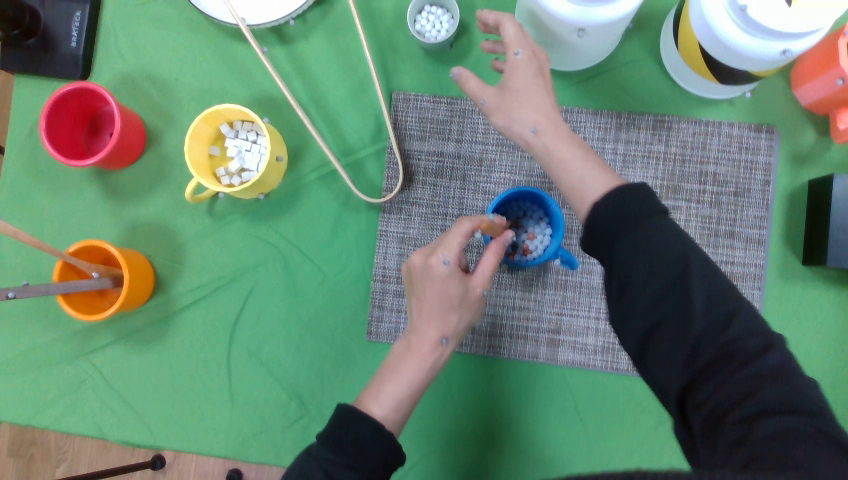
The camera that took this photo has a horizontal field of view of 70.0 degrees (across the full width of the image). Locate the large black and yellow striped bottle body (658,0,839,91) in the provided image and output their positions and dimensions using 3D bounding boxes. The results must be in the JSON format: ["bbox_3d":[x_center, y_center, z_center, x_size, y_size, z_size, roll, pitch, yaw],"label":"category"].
[{"bbox_3d":[0.331,-0.240,0.620,0.131,0.184,0.130,0,88,5],"label":"large black and yellow striped bottle body"}]

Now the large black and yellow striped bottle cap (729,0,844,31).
[{"bbox_3d":[0.324,-0.245,0.536,0.115,0.019,0.115,0,89,3],"label":"large black and yellow striped bottle cap"}]

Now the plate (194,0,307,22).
[{"bbox_3d":[-0.205,-0.363,0.733,0.207,0.039,0.207,0,89,4],"label":"plate"}]

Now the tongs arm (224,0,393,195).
[{"bbox_3d":[-0.160,-0.210,0.706,0.051,0.026,0.385,-32,94,-1],"label":"tongs arm"}]

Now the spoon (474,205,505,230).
[{"bbox_3d":[0.065,-0.020,0.600,0.041,0.193,0.021,-35,90,7],"label":"spoon"}]

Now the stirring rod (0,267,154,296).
[{"bbox_3d":[-0.400,0.047,0.686,0.177,0.006,0.014,-7,82,-38],"label":"stirring rod"}]

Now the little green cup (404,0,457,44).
[{"bbox_3d":[0.009,-0.263,0.715,0.061,0.038,0.061,0,89,4],"label":"little green cup"}]

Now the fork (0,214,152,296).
[{"bbox_3d":[-0.406,0.011,0.680,0.209,0.018,0.028,37,85,-39],"label":"fork"}]

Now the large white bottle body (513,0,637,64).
[{"bbox_3d":[0.162,-0.276,0.632,0.130,0.185,0.130,0,88,4],"label":"large white bottle body"}]

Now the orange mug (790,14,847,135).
[{"bbox_3d":[0.464,-0.180,0.652,0.083,0.101,0.126,-3,84,5],"label":"orange mug"}]

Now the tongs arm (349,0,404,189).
[{"bbox_3d":[-0.084,-0.248,0.706,0.028,0.027,0.388,-18,94,-5],"label":"tongs arm"}]

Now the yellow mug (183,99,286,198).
[{"bbox_3d":[-0.232,-0.097,0.714,0.100,0.064,0.131,45,93,4],"label":"yellow mug"}]

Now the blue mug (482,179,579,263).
[{"bbox_3d":[0.119,-0.010,0.664,0.116,0.106,0.082,34,90,4],"label":"blue mug"}]
